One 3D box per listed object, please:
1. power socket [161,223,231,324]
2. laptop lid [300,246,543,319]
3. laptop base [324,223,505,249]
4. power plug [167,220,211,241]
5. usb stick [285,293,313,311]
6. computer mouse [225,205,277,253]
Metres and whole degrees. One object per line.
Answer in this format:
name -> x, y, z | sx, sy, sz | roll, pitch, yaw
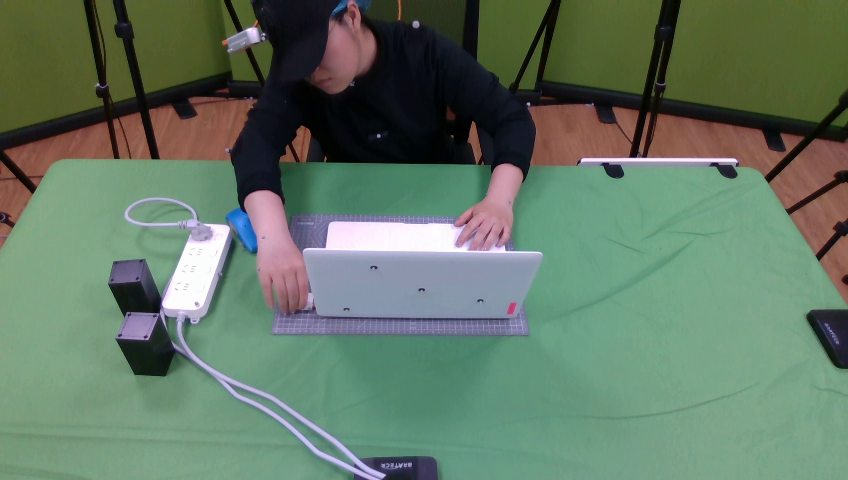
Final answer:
power socket -> -0.412, 0.051, 1.106 | 0.072, 0.033, 0.225 | 4, 46, -2
laptop lid -> -0.007, 0.075, 0.963 | 0.357, 0.243, 0.013 | 2, 58, -4
laptop base -> -0.016, 0.054, 1.146 | 0.354, 0.023, 0.234 | 1, 43, -3
power plug -> -0.439, -0.017, 1.143 | 0.072, 0.053, 0.035 | 10, 43, 5
usb stick -> -0.214, 0.109, 1.065 | 0.059, 0.027, 0.021 | 6, 46, -10
computer mouse -> -0.340, -0.026, 1.186 | 0.063, 0.041, 0.116 | -25, 57, -29
